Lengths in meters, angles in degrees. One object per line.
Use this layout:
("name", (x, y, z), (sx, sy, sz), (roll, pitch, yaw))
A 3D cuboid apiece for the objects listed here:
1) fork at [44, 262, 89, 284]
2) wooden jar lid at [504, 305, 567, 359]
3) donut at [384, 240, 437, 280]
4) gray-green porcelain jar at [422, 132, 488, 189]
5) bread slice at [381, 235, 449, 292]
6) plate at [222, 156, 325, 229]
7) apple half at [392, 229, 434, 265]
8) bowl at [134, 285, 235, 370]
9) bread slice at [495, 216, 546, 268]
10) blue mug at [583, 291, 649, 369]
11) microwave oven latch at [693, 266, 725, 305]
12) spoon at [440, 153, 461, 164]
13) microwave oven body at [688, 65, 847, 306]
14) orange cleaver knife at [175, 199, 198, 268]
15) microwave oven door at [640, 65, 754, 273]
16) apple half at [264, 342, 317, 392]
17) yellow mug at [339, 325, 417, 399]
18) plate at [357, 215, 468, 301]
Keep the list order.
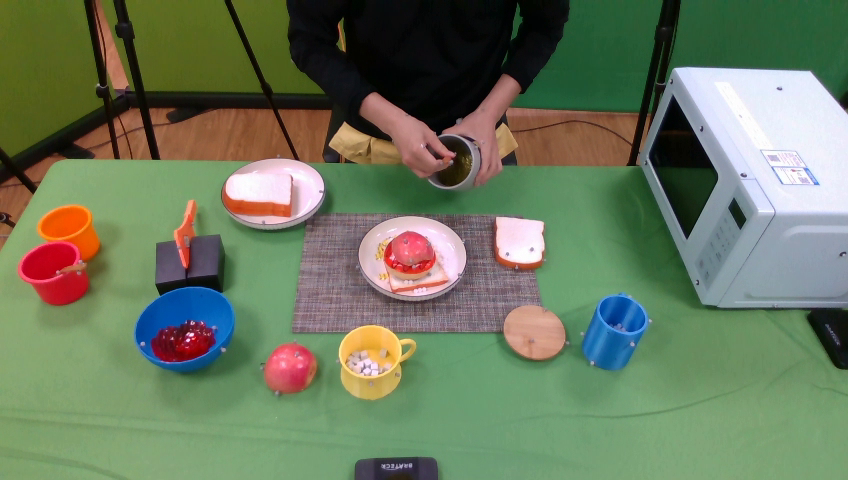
("fork", (-0.599, 0.053, 1.014), (0.207, 0.019, 0.028), (-14, 29, 45))
("wooden jar lid", (0.192, 0.161, 1.051), (0.108, 0.021, 0.107), (2, 50, -3))
("donut", (-0.025, 0.030, 1.109), (0.099, 0.048, 0.098), (3, 46, -2))
("gray-green porcelain jar", (0.066, -0.153, 1.193), (0.105, 0.106, 0.126), (23, 10, 17))
("bread slice", (-0.027, 0.039, 1.140), (0.107, 0.018, 0.133), (-12, 49, -16))
("plate", (-0.308, -0.095, 1.251), (0.209, 0.038, 0.208), (2, 47, -2))
("apple half", (-0.021, 0.004, 1.083), (0.081, 0.033, 0.081), (7, 48, -7))
("bowl", (-0.377, 0.155, 0.981), (0.151, 0.077, 0.150), (2, 46, -2))
("bread slice", (0.194, 0.002, 1.204), (0.105, 0.019, 0.131), (5, 46, 2))
("blue mug", (0.324, 0.142, 1.023), (0.082, 0.106, 0.116), (15, 47, 11))
("microwave oven latch", (0.523, 0.082, 1.115), (0.030, 0.029, 0.078), (3, 46, 0))
("spoon", (0.047, -0.156, 1.146), (0.041, 0.021, 0.193), (12, 7, 4))
("microwave oven body", (0.669, -0.111, 1.176), (0.326, 0.261, 0.439), (0, 46, -3))
("orange cleaver knife", (-0.438, -0.017, 1.138), (0.012, 0.077, 0.210), (-14, 27, -7))
("microwave oven door", (0.523, -0.147, 1.193), (0.039, 0.245, 0.353), (0, 47, -3))
("apple half", (-0.214, 0.198, 0.970), (0.074, 0.053, 0.080), (19, 48, 10))
("yellow mug", (-0.072, 0.190, 0.978), (0.131, 0.064, 0.099), (-17, 50, -20))
("plate", (-0.022, 0.037, 1.141), (0.208, 0.039, 0.206), (2, 46, -2))
